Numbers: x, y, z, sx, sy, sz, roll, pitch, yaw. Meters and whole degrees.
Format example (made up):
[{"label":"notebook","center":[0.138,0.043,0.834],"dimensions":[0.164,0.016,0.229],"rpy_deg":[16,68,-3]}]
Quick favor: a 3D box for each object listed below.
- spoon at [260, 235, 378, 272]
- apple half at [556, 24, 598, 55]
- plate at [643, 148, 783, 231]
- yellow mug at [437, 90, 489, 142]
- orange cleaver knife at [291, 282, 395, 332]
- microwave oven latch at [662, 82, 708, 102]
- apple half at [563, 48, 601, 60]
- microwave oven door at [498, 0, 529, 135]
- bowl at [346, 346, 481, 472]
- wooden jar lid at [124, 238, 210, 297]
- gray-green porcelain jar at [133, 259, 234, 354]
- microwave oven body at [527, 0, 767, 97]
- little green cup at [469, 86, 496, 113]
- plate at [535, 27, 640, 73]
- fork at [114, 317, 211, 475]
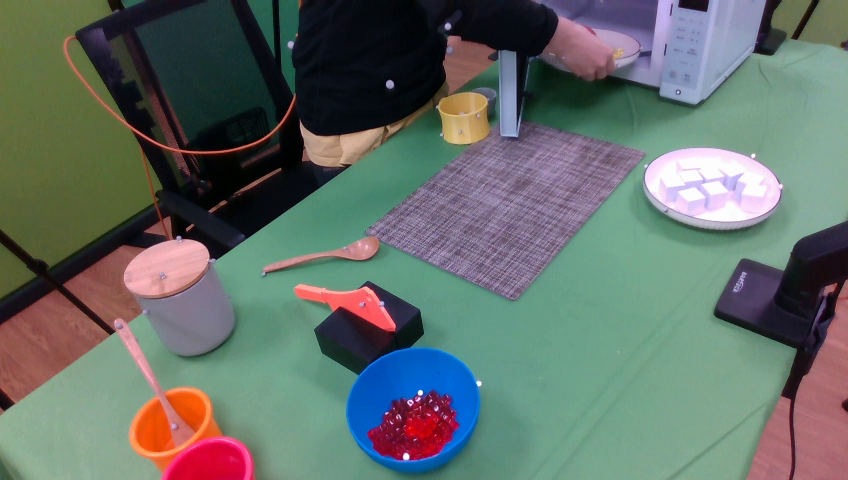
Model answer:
[{"label":"spoon","center":[-0.168,0.024,0.966],"dimensions":[0.194,0.022,0.041],"rpy_deg":[-10,58,-3]},{"label":"apple half","center":[0.317,-0.418,1.249],"dimensions":[0.081,0.053,0.074],"rpy_deg":[-26,39,-27]},{"label":"plate","center":[0.464,-0.080,0.986],"dimensions":[0.207,0.039,0.206],"rpy_deg":[-4,41,4]},{"label":"yellow mug","center":[0.069,-0.257,1.224],"dimensions":[0.100,0.064,0.129],"rpy_deg":[-32,44,-27]},{"label":"orange cleaver knife","center":[-0.116,0.091,0.835],"dimensions":[0.209,0.077,0.012],"rpy_deg":[1,32,47]},{"label":"microwave oven latch","center":[0.518,-0.298,1.203],"dimensions":[0.078,0.029,0.030],"rpy_deg":[28,53,35]},{"label":"apple half","center":[0.309,-0.363,1.191],"dimensions":[0.081,0.033,0.081],"rpy_deg":[0,31,0]},{"label":"microwave oven door","center":[0.184,-0.411,1.225],"dimensions":[0.039,0.245,0.355],"rpy_deg":[3,42,12]},{"label":"bowl","center":[-0.008,0.205,0.691],"dimensions":[0.151,0.077,0.150],"rpy_deg":[-4,40,4]},{"label":"wooden jar lid","center":[-0.335,0.039,0.794],"dimensions":[0.108,0.021,0.108],"rpy_deg":[-2,40,2]},{"label":"gray-green porcelain jar","center":[-0.328,0.087,0.836],"dimensions":[0.106,0.127,0.105],"rpy_deg":[-4,41,4]},{"label":"microwave oven body","center":[0.473,-0.516,1.314],"dimensions":[0.438,0.261,0.327],"rpy_deg":[26,52,34]},{"label":"little green cup","center":[0.123,-0.297,1.285],"dimensions":[0.061,0.039,0.061],"rpy_deg":[-4,41,4]},{"label":"plate","center":[0.329,-0.384,1.230],"dimensions":[0.209,0.038,0.208],"rpy_deg":[-1,36,1]},{"label":"fork","center":[-0.309,0.180,0.708],"dimensions":[0.028,0.018,0.207],"rpy_deg":[-29,89,-25]}]
